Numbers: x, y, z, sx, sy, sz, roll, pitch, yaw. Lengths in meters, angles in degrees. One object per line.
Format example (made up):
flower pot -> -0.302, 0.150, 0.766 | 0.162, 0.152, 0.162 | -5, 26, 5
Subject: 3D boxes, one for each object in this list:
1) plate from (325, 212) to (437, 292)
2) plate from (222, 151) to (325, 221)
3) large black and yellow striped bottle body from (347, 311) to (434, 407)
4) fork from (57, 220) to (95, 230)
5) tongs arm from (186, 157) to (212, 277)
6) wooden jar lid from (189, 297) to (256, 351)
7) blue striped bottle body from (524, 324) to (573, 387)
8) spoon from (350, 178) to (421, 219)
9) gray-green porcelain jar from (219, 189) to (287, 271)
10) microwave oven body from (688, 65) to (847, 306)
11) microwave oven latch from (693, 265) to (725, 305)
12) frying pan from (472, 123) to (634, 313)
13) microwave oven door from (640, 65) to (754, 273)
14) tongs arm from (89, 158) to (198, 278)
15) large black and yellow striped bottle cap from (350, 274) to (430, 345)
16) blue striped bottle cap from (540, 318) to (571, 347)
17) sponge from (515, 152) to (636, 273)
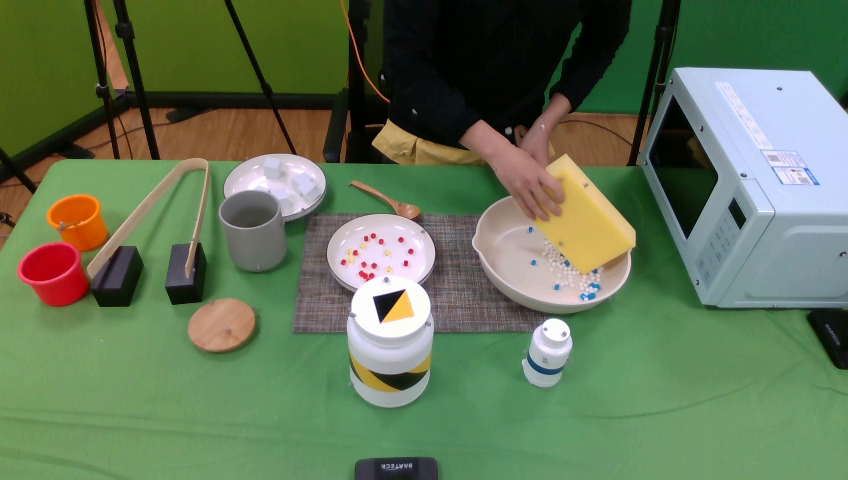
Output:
plate -> -0.080, 0.030, 1.143 | 0.209, 0.038, 0.208 | 3, 46, -3
plate -> -0.310, -0.106, 1.262 | 0.208, 0.039, 0.206 | 2, 47, -2
large black and yellow striped bottle body -> -0.052, 0.157, 0.929 | 0.131, 0.185, 0.130 | 2, 47, -2
fork -> -0.624, -0.027, 1.087 | 0.028, 0.207, 0.018 | -3, 92, -17
tongs arm -> -0.445, -0.058, 1.168 | 0.051, 0.026, 0.382 | -5, 37, -6
wooden jar lid -> -0.342, 0.145, 1.033 | 0.108, 0.021, 0.107 | 2, 45, -2
blue striped bottle body -> 0.200, 0.178, 0.970 | 0.063, 0.121, 0.062 | 2, 46, -2
spoon -> -0.084, -0.092, 1.272 | 0.193, 0.022, 0.041 | 31, 69, 25
gray-green porcelain jar -> -0.310, -0.014, 1.113 | 0.106, 0.127, 0.105 | 2, 46, -2
microwave oven body -> 0.669, -0.111, 1.176 | 0.326, 0.261, 0.439 | 0, 46, -3
microwave oven latch -> 0.523, 0.082, 1.116 | 0.030, 0.029, 0.078 | 2, 46, -1
frying pan -> 0.235, -0.060, 1.207 | 0.307, 0.103, 0.484 | 1, 54, -6
microwave oven door -> 0.523, -0.147, 1.193 | 0.039, 0.245, 0.353 | 0, 47, -3
tongs arm -> -0.529, -0.057, 1.164 | 0.028, 0.028, 0.385 | 1, 36, 8
large black and yellow striped bottle cap -> -0.048, 0.097, 0.867 | 0.115, 0.019, 0.114 | 3, 48, -3
blue striped bottle cap -> 0.203, 0.142, 0.933 | 0.044, 0.021, 0.044 | 3, 49, -3
sponge -> 0.284, -0.048, 1.131 | 0.207, 0.118, 0.060 | 45, 35, -12
